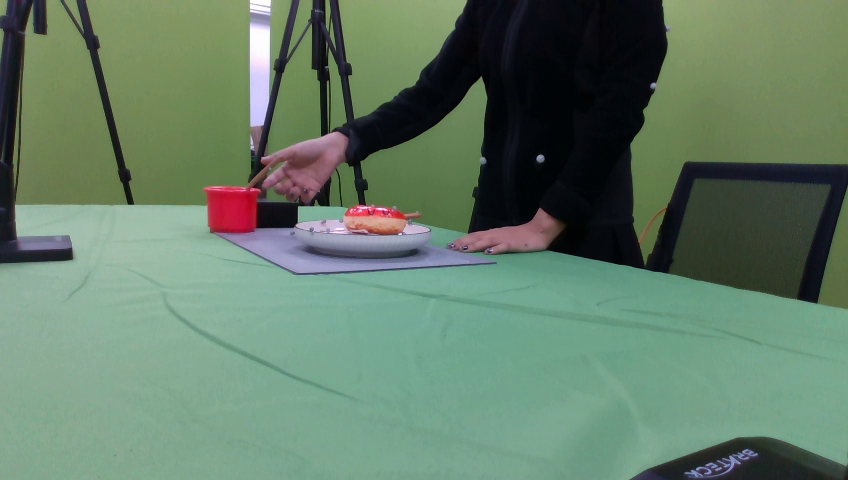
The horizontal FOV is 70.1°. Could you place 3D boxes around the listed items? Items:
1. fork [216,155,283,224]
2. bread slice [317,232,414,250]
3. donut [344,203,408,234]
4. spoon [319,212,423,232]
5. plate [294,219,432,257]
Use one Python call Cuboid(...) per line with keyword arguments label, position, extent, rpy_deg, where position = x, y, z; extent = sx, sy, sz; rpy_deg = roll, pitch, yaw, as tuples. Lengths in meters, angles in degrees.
Cuboid(label="fork", position=(-0.304, -0.084, 1.054), extent=(0.207, 0.018, 0.028), rpy_deg=(-42, -18, 30))
Cuboid(label="bread slice", position=(-0.093, 0.000, 0.915), extent=(0.132, 0.019, 0.104), rpy_deg=(0, 6, -26))
Cuboid(label="donut", position=(-0.074, -0.031, 0.931), extent=(0.099, 0.048, 0.099), rpy_deg=(4, 3, 0))
Cuboid(label="spoon", position=(-0.083, -0.028, 1.005), extent=(0.194, 0.021, 0.041), rpy_deg=(-17, 20, -30))
Cuboid(label="plate", position=(-0.092, -0.004, 0.923), extent=(0.209, 0.038, 0.209), rpy_deg=(2, 7, 0))
